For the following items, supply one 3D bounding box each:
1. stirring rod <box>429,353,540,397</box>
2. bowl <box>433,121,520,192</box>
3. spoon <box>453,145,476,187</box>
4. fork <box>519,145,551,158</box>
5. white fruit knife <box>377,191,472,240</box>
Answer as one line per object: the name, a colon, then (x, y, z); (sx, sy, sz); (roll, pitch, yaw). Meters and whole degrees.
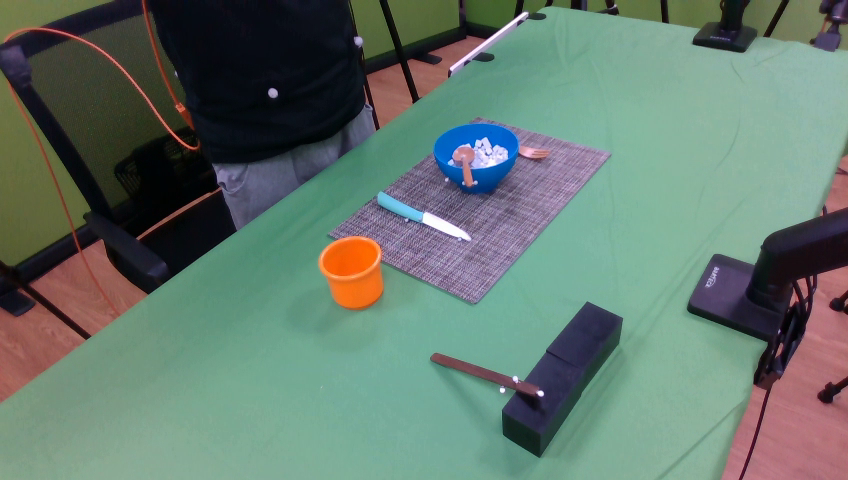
stirring rod: (0.069, 0.162, 0.737); (0.174, 0.006, 0.014); (8, 42, 47)
bowl: (0.093, -0.137, 1.064); (0.151, 0.077, 0.150); (-4, 41, 4)
spoon: (0.069, -0.125, 1.000); (0.041, 0.022, 0.193); (-9, 21, 6)
fork: (0.146, -0.188, 1.162); (0.206, 0.019, 0.028); (22, 57, 27)
white fruit knife: (-0.004, -0.039, 1.012); (0.206, 0.016, 0.027); (25, 61, 31)
